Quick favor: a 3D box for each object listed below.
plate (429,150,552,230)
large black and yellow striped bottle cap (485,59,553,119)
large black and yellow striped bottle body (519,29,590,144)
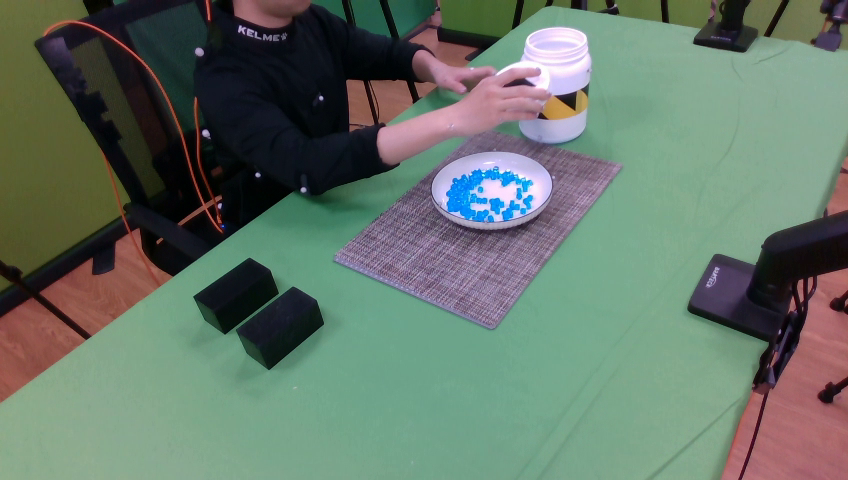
[{"bbox_3d":[0.113,-0.082,1.032,0.207,0.039,0.206,-4,41,4],"label":"plate"},{"bbox_3d":[0.157,-0.253,1.008,0.114,0.019,0.114,-14,56,22],"label":"large black and yellow striped bottle cap"},{"bbox_3d":[0.247,-0.291,1.149,0.131,0.185,0.130,-4,41,4],"label":"large black and yellow striped bottle body"}]
